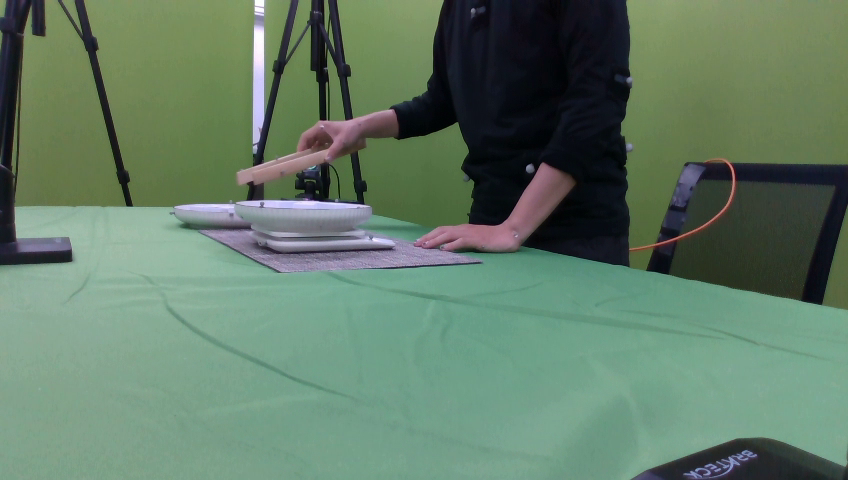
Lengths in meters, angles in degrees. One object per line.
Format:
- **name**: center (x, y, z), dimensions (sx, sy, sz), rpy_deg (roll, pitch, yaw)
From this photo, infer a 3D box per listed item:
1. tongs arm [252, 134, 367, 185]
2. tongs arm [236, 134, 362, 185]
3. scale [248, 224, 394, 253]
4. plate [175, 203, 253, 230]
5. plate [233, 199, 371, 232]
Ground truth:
- **tongs arm**: center (-0.222, -0.174, 1.259), dimensions (0.028, 0.028, 0.389), rpy_deg (-2, 18, 30)
- **tongs arm**: center (-0.245, -0.176, 1.272), dimensions (0.050, 0.026, 0.386), rpy_deg (1, 19, 26)
- **scale**: center (-0.162, -0.006, 0.954), dimensions (0.202, 0.031, 0.148), rpy_deg (-2, 8, -32)
- **plate**: center (-0.381, -0.047, 1.199), dimensions (0.208, 0.039, 0.207), rpy_deg (3, 7, 0)
- **plate**: center (-0.188, -0.039, 0.939), dimensions (0.209, 0.038, 0.209), rpy_deg (2, 7, 0)
